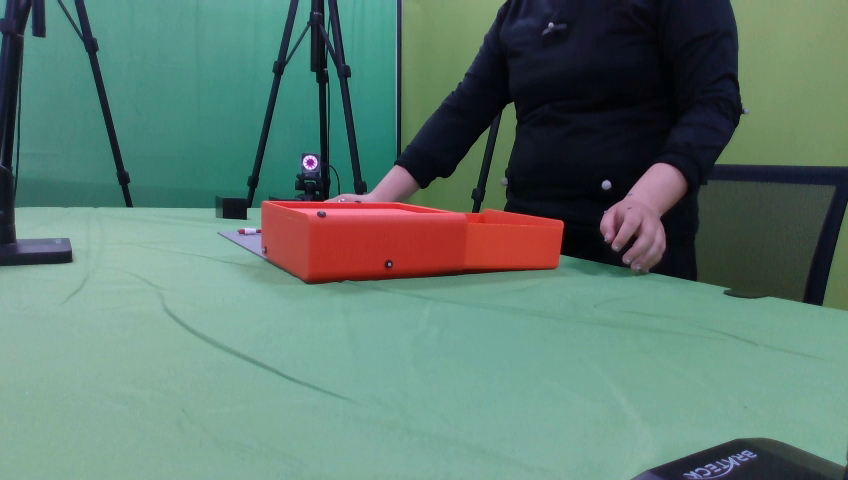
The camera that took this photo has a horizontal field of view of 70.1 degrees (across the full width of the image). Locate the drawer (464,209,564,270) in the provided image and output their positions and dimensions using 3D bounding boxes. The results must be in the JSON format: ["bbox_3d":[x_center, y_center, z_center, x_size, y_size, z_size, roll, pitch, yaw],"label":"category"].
[{"bbox_3d":[0.058,-0.006,0.880,0.213,0.073,0.193,0,9,-31],"label":"drawer"}]

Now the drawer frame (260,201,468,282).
[{"bbox_3d":[-0.084,-0.006,0.795,0.215,0.082,0.200,-2,9,-30],"label":"drawer frame"}]

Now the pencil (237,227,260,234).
[{"bbox_3d":[-0.242,-0.015,1.105,0.195,0.012,0.012,1,7,-30],"label":"pencil"}]
